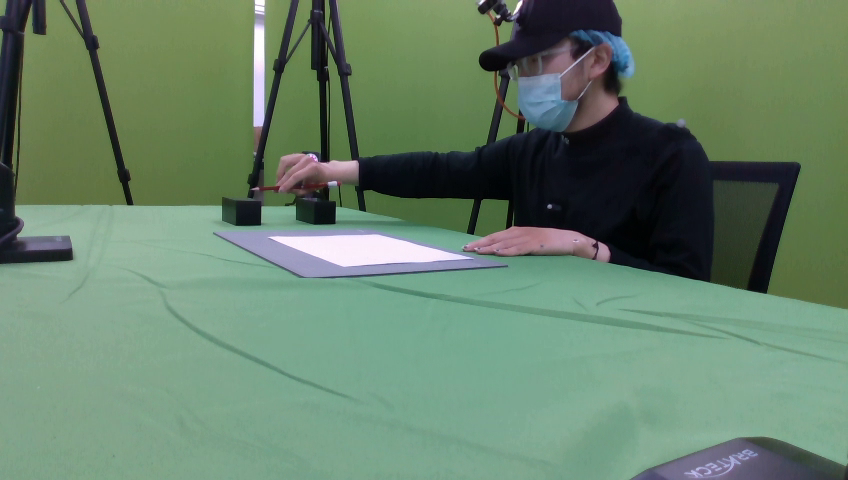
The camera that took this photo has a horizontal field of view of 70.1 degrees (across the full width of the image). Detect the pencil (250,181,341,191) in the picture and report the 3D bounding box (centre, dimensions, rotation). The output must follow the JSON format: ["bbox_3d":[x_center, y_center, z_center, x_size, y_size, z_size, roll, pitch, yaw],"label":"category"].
[{"bbox_3d":[-0.272,-0.114,1.290,0.195,0.012,0.012,-7,11,-24],"label":"pencil"}]
